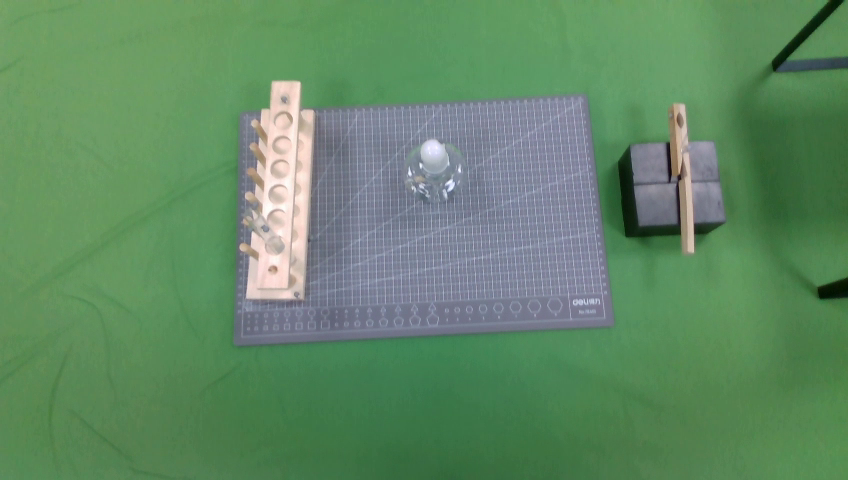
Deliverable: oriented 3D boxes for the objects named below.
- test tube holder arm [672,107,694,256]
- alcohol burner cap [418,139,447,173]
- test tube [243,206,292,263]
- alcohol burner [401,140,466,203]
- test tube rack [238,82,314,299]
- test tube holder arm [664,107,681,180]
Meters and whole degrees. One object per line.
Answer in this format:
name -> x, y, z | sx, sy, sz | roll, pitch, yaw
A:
test tube holder arm -> 0.298, -0.069, 0.701 | 0.013, 0.015, 0.177 | 0, 77, -5
alcohol burner cap -> 0.008, -0.095, 0.670 | 0.034, 0.048, 0.033 | 0, 81, 3
test tube -> -0.165, -0.001, 0.650 | 0.017, 0.151, 0.017 | 0, 71, 1
alcohol burner -> 0.010, -0.086, 0.705 | 0.078, 0.119, 0.077 | 0, 77, 2
test tube rack -> -0.178, -0.056, 0.714 | 0.067, 0.085, 0.241 | 1, 76, 1
test tube holder arm -> 0.292, -0.113, 0.711 | 0.010, 0.015, 0.087 | 1, 77, -5
